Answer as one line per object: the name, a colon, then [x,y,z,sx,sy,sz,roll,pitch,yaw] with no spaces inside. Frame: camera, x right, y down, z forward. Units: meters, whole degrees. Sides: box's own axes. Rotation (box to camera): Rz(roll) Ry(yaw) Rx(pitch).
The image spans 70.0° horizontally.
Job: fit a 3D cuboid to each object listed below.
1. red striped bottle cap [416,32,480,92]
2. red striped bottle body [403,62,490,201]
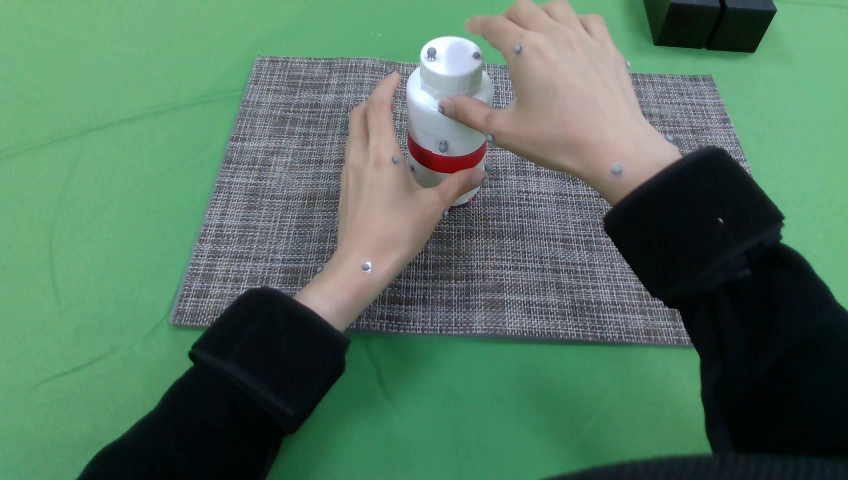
red striped bottle cap: [0.016,-0.122,0.413,0.044,0.018,0.044,1,56,0]
red striped bottle body: [0.016,-0.090,0.456,0.063,0.121,0.062,1,53,0]
